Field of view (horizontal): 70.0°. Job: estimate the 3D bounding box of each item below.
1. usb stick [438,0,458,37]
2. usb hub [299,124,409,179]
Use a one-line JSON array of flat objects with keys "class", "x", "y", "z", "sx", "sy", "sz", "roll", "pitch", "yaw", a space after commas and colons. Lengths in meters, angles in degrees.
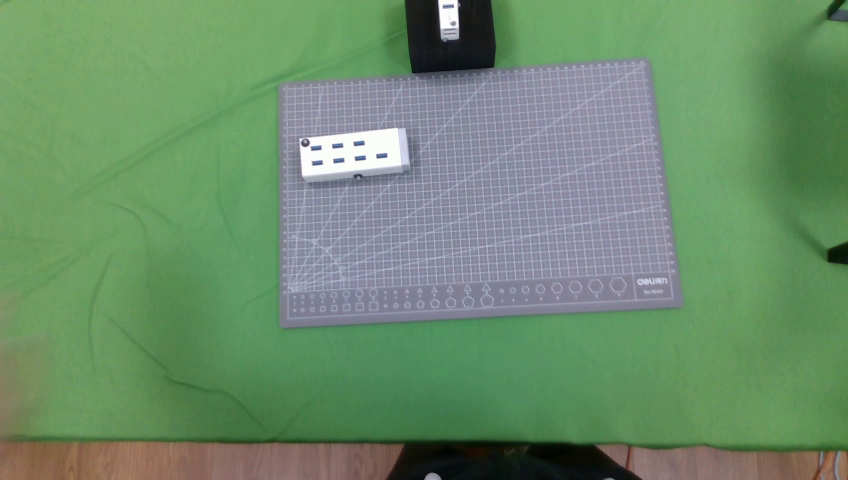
[{"class": "usb stick", "x": 0.027, "y": -0.263, "z": 0.687, "sx": 0.021, "sy": 0.027, "sz": 0.059, "roll": -3, "pitch": 75, "yaw": 4}, {"class": "usb hub", "x": -0.082, "y": -0.104, "z": 0.708, "sx": 0.125, "sy": 0.025, "sz": 0.049, "roll": -6, "pitch": 78, "yaw": 1}]
